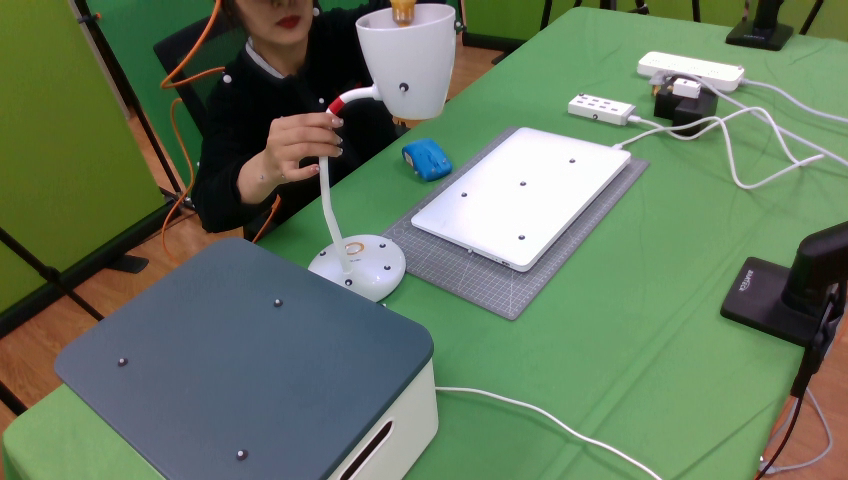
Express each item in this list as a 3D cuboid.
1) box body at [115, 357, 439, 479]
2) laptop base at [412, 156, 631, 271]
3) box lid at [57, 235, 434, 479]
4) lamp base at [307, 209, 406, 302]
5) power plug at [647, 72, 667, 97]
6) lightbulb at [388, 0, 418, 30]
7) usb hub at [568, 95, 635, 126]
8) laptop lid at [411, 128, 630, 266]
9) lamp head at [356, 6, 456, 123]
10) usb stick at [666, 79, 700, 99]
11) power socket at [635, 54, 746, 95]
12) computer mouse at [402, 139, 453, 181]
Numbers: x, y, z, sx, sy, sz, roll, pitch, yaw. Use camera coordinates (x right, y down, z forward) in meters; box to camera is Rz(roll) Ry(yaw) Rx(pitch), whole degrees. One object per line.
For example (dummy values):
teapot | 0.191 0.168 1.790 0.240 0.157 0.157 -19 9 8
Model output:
box body | -0.189 0.179 0.702 0.361 0.161 0.255 22 49 32
laptop base | 0.176 -0.084 1.055 0.233 0.023 0.355 21 48 36
box lid | -0.198 0.123 0.653 0.368 0.015 0.264 22 49 32
lamp base | -0.116 -0.003 0.889 0.161 0.181 0.178 -15 43 -5
power plug | 0.493 -0.321 1.261 0.073 0.052 0.035 1 20 -41
lightbulb | -0.024 -0.287 0.667 0.059 0.108 0.059 0 21 1
usb hub | 0.360 -0.264 1.228 0.124 0.025 0.049 24 49 34
laptop lid | 0.172 -0.093 1.049 0.239 0.013 0.358 23 49 36
lamp head | -0.019 -0.199 0.700 0.112 0.123 0.112 -1 33 1
usb stick | 0.492 -0.288 1.152 0.058 0.027 0.021 20 51 34
power socket | 0.564 -0.357 1.293 0.225 0.033 0.072 24 51 33
computer mouse | 0.005 -0.159 1.165 0.063 0.041 0.116 -21 45 -17
